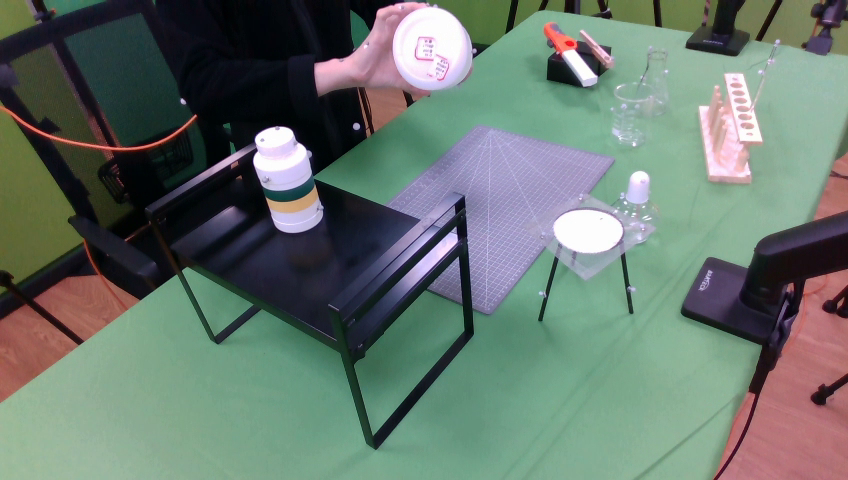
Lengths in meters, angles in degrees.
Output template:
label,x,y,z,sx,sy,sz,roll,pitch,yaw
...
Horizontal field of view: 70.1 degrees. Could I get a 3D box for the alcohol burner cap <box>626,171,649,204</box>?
label,x,y,z,sx,sy,sz,roll,pitch,yaw
alcohol burner cap,0.320,-0.081,0.900,0.034,0.048,0.033,-4,42,4

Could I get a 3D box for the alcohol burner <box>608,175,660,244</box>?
label,x,y,z,sx,sy,sz,roll,pitch,yaw
alcohol burner,0.323,-0.053,0.924,0.078,0.119,0.077,-4,43,4

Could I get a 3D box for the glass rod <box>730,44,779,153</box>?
label,x,y,z,sx,sy,sz,roll,pitch,yaw
glass rod,0.555,-0.234,1.021,0.008,0.200,0.008,2,40,-1

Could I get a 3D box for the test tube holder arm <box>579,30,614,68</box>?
label,x,y,z,sx,sy,sz,roll,pitch,yaw
test tube holder arm,0.384,-0.428,1.351,0.013,0.015,0.177,-11,41,-4

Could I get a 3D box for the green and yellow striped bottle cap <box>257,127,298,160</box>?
label,x,y,z,sx,sy,sz,roll,pitch,yaw
green and yellow striped bottle cap,-0.169,-0.112,0.698,0.045,0.020,0.045,-5,40,5

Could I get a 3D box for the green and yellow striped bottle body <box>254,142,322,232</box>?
label,x,y,z,sx,sy,sz,roll,pitch,yaw
green and yellow striped bottle body,-0.165,-0.073,0.732,0.063,0.120,0.063,-4,41,4

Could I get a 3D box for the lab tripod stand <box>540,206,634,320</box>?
label,x,y,z,sx,sy,sz,roll,pitch,yaw
lab tripod stand,0.218,0.034,0.821,0.148,0.132,0.147,-4,42,4

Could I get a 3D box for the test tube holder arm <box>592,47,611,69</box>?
label,x,y,z,sx,sy,sz,roll,pitch,yaw
test tube holder arm,0.386,-0.398,1.317,0.010,0.015,0.087,-10,41,-2

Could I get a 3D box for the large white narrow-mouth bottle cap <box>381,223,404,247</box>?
label,x,y,z,sx,sy,sz,roll,pitch,yaw
large white narrow-mouth bottle cap,-0.052,-0.009,0.992,0.038,0.024,0.037,-5,39,4

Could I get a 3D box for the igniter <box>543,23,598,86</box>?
label,x,y,z,sx,sy,sz,roll,pitch,yaw
igniter,0.320,-0.419,1.345,0.057,0.025,0.274,-12,44,-3

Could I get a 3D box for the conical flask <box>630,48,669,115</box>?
label,x,y,z,sx,sy,sz,roll,pitch,yaw
conical flask,0.456,-0.317,1.205,0.075,0.122,0.075,-4,41,4

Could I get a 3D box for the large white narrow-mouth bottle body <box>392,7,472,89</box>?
label,x,y,z,sx,sy,sz,roll,pitch,yaw
large white narrow-mouth bottle body,0.019,-0.269,0.869,0.101,0.102,0.194,0,13,8

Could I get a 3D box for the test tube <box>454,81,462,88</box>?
label,x,y,z,sx,sy,sz,roll,pitch,yaw
test tube,0.049,-0.284,1.036,0.017,0.017,0.150,3,2,11

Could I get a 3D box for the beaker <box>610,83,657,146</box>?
label,x,y,z,sx,sy,sz,roll,pitch,yaw
beaker,0.388,-0.235,1.137,0.074,0.101,0.083,-31,45,-26

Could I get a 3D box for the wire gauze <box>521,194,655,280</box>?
label,x,y,z,sx,sy,sz,roll,pitch,yaw
wire gauze,0.207,-0.012,0.772,0.122,0.011,0.124,-28,44,-20

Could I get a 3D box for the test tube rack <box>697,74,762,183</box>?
label,x,y,z,sx,sy,sz,roll,pitch,yaw
test tube rack,0.547,-0.208,1.095,0.066,0.085,0.242,5,42,15
